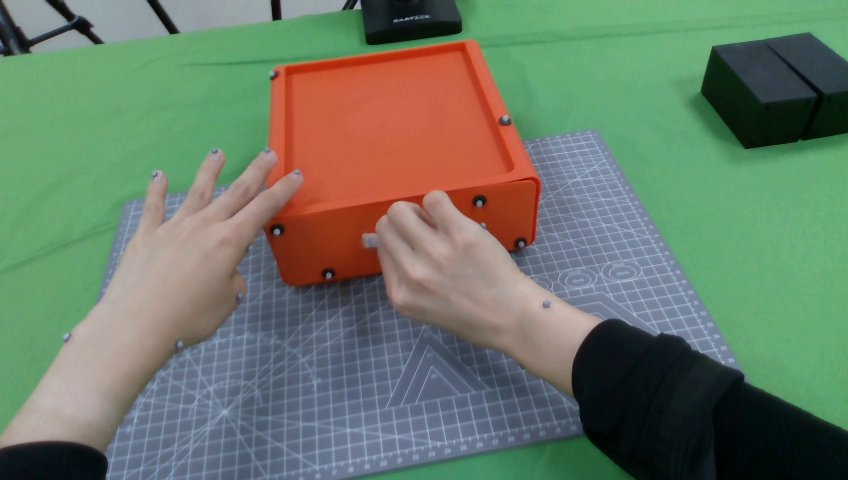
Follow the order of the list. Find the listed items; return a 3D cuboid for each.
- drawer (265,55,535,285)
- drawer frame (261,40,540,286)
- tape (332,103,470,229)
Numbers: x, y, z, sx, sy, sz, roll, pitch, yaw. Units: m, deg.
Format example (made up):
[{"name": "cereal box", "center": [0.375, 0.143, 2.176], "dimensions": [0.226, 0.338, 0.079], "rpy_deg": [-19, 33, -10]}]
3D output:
[{"name": "drawer", "center": [-0.029, -0.071, 0.519], "dimensions": [0.194, 0.074, 0.209], "rpy_deg": [-10, 45, -3]}, {"name": "drawer frame", "center": [-0.029, -0.074, 0.519], "dimensions": [0.202, 0.083, 0.211], "rpy_deg": [-10, 45, -4]}, {"name": "tape", "center": [-0.020, -0.066, 0.522], "dimensions": [0.117, 0.053, 0.115], "rpy_deg": [-3, 46, 3]}]
